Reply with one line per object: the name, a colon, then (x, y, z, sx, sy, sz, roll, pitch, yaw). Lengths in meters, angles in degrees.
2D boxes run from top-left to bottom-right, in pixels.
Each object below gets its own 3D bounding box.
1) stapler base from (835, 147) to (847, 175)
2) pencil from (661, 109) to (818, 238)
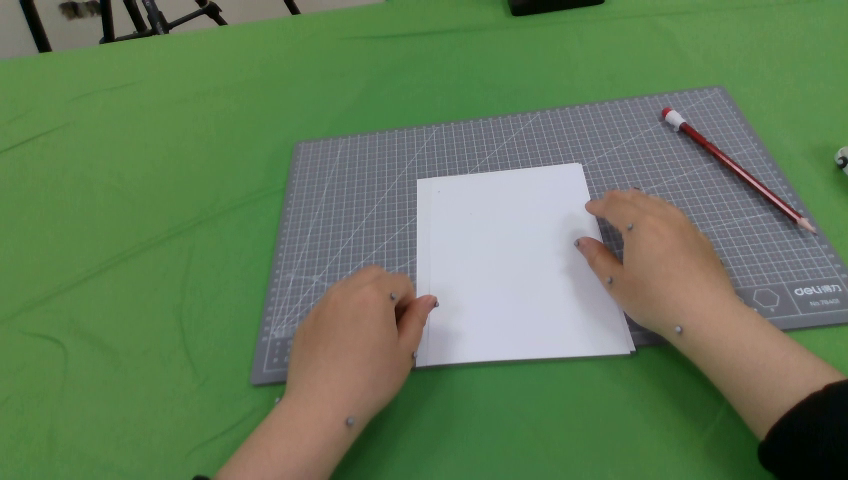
stapler base: (0.384, -0.040, 0.486, 0.041, 0.025, 0.129, -10, 48, 4)
pencil: (0.271, -0.064, 0.533, 0.012, 0.012, 0.192, -20, 47, -9)
